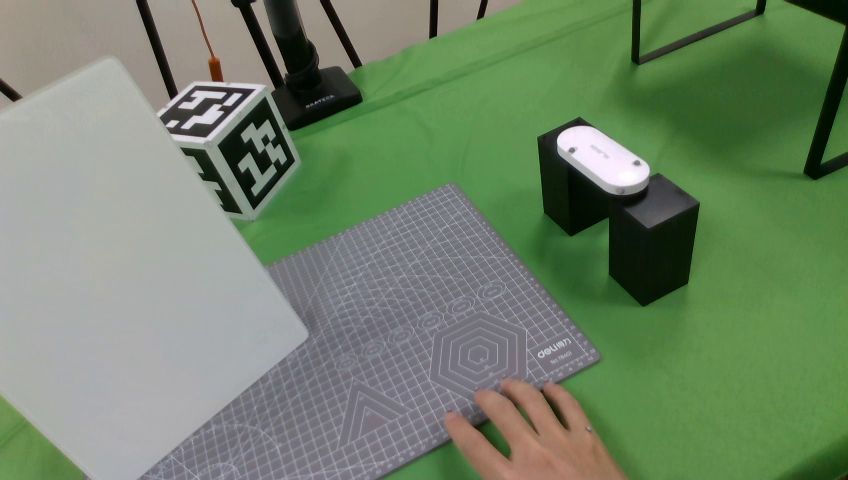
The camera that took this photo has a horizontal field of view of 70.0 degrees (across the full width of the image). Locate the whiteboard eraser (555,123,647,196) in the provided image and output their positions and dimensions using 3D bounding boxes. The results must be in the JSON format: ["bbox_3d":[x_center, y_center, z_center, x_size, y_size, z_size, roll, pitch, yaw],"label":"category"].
[{"bbox_3d":[0.154,-0.074,0.537,0.041,0.019,0.100,-26,45,-12],"label":"whiteboard eraser"}]

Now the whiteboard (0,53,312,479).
[{"bbox_3d":[-0.288,0.029,0.542,0.217,0.308,0.142,-40,29,-22],"label":"whiteboard"}]
